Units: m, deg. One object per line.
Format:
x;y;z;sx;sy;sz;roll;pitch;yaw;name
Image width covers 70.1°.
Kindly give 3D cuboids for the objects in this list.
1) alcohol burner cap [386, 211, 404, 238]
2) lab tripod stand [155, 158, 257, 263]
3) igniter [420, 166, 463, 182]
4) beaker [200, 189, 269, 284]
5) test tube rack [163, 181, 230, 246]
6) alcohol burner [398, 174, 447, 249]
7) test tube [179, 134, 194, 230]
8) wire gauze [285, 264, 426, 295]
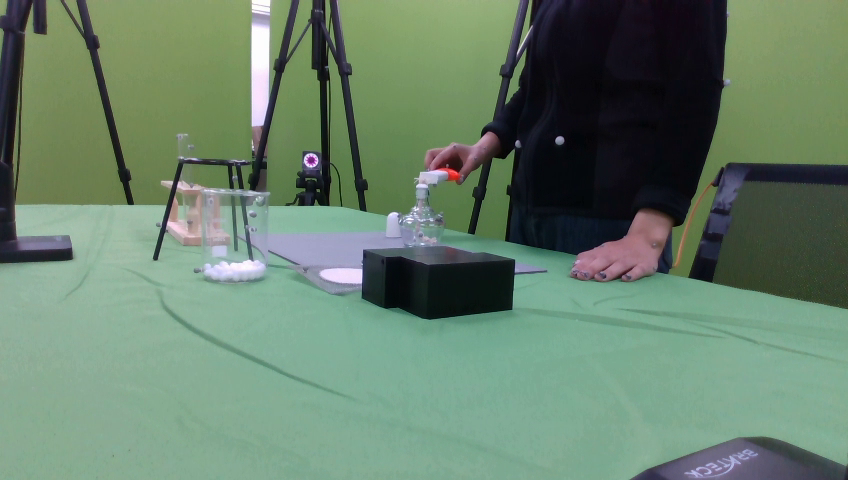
-0.053;-0.029;1.107;0.034;0.048;0.034;2;9;0;alcohol burner cap
-0.275;-0.041;0.797;0.148;0.131;0.148;2;9;0;lab tripod stand
0.035;-0.122;1.116;0.057;0.025;0.277;8;9;10;igniter
-0.209;-0.006;0.676;0.073;0.100;0.084;7;8;28;beaker
-0.387;-0.050;1.015;0.067;0.085;0.241;-2;9;-30;test tube rack
-0.003;-0.046;0.973;0.078;0.119;0.078;0;7;0;alcohol burner
-0.366;-0.089;0.938;0.017;0.150;0.017;-1;9;1;test tube
-0.079;0.039;0.692;0.122;0.011;0.124;-4;11;-37;wire gauze
